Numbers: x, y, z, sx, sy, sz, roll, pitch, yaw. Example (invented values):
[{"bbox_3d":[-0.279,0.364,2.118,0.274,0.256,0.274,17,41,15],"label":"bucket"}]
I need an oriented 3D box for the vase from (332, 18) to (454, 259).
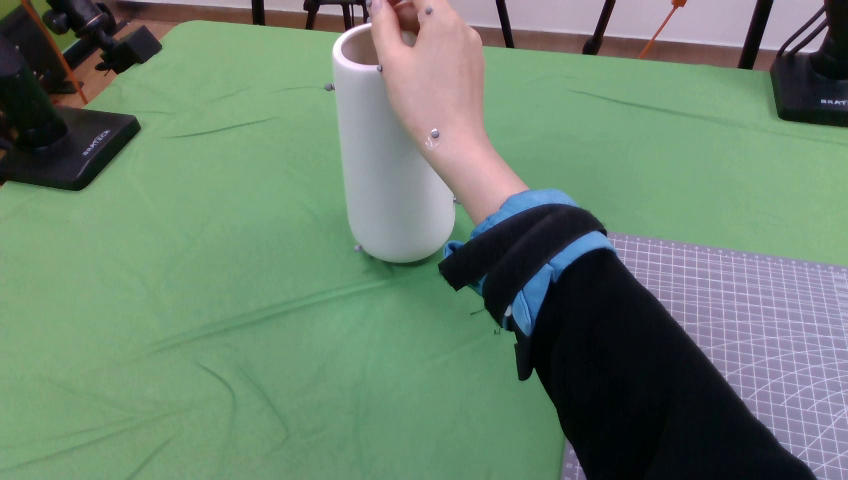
[{"bbox_3d":[-0.024,-0.076,0.505,0.098,0.202,0.097,-1,47,2],"label":"vase"}]

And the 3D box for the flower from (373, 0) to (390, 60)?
[{"bbox_3d":[-0.030,-0.161,0.404,0.044,0.365,0.038,16,50,18],"label":"flower"}]
